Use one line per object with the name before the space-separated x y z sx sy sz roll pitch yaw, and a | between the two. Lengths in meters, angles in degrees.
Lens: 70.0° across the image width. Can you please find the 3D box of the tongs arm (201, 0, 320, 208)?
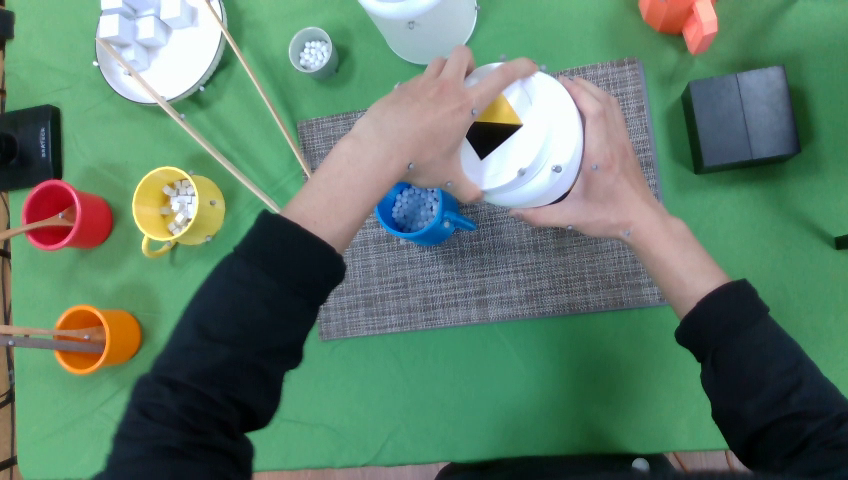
tongs arm | -0.238 -0.215 0.819 0.028 0.028 0.387 -31 87 -1

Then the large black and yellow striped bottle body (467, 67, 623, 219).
large black and yellow striped bottle body | 0.109 -0.094 0.610 0.130 0.185 0.130 -4 84 36

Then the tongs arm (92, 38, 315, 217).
tongs arm | -0.302 -0.159 0.825 0.384 0.026 0.051 44 92 5

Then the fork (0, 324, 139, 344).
fork | -0.496 0.123 0.809 0.209 0.018 0.028 8 85 -31

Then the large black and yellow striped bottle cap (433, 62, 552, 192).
large black and yellow striped bottle cap | 0.058 -0.101 0.543 0.114 0.019 0.114 -4 82 35

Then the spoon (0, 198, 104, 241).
spoon | -0.543 -0.016 0.833 0.194 0.022 0.041 -25 76 -35

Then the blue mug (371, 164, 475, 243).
blue mug | 0.006 -0.036 0.730 0.116 0.106 0.082 18 89 13

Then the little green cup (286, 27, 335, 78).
little green cup | -0.151 -0.251 0.819 0.061 0.039 0.061 -1 87 12

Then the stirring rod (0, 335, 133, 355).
stirring rod | -0.485 0.140 0.808 0.006 0.177 0.014 -26 59 53

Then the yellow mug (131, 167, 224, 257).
yellow mug | -0.345 -0.032 0.831 0.099 0.064 0.131 32 94 12

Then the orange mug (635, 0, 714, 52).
orange mug | 0.297 -0.285 0.692 0.083 0.101 0.125 -18 78 11

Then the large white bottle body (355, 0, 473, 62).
large white bottle body | -0.018 -0.305 0.718 0.130 0.185 0.130 -1 85 13

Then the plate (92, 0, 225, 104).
plate | -0.376 -0.294 0.872 0.207 0.039 0.207 -1 86 12
